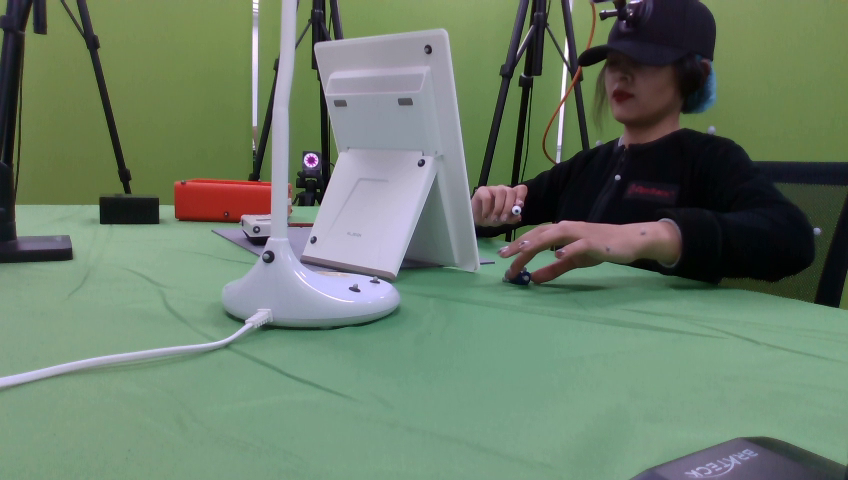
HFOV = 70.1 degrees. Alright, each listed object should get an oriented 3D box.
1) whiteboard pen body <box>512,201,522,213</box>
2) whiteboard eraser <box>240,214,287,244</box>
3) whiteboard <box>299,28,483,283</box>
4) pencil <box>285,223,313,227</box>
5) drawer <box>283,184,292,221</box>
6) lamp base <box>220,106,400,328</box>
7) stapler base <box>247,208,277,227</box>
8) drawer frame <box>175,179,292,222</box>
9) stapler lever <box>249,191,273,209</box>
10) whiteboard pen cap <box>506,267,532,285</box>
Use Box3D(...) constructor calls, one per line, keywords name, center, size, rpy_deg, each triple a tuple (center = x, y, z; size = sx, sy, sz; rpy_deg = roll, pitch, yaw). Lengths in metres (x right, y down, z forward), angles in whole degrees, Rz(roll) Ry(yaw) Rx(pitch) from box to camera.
Box3D(name="whiteboard pen body", center=(0.160, -0.056, 1.042), size=(0.017, 0.017, 0.141), rpy_deg=(4, 6, 9))
Box3D(name="whiteboard eraser", center=(-0.256, -0.018, 0.958), size=(0.056, 0.042, 0.112), rpy_deg=(0, 7, -25))
Box3D(name="whiteboard", center=(-0.075, -0.082, 0.741), size=(0.216, 0.305, 0.144), rpy_deg=(9, 30, 38))
Box3D(name="pencil", center=(-0.234, -0.030, 1.198), size=(0.195, 0.012, 0.012), rpy_deg=(0, 8, -20))
Box3D(name="drawer", center=(-0.397, -0.086, 1.314), size=(0.212, 0.073, 0.194), rpy_deg=(1, 8, -9))
Box3D(name="lamp base", center=(-0.101, -0.023, 0.531), size=(0.160, 0.180, 0.179), rpy_deg=(4, 10, 10))
Box3D(name="stapler base", center=(-0.350, -0.054, 1.310), size=(0.041, 0.024, 0.130), rpy_deg=(0, 13, -3))
Box3D(name="drawer frame", center=(-0.402, -0.087, 1.311), size=(0.214, 0.082, 0.201), rpy_deg=(1, 8, -9))
Box3D(name="stapler lever", center=(-0.352, -0.086, 1.306), size=(0.027, 0.040, 0.118), rpy_deg=(0, 5, -3))
Box3D(name="whiteboard pen cap", center=(0.113, 0.043, 0.727), size=(0.018, 0.018, 0.033), rpy_deg=(-2, 11, -27))
